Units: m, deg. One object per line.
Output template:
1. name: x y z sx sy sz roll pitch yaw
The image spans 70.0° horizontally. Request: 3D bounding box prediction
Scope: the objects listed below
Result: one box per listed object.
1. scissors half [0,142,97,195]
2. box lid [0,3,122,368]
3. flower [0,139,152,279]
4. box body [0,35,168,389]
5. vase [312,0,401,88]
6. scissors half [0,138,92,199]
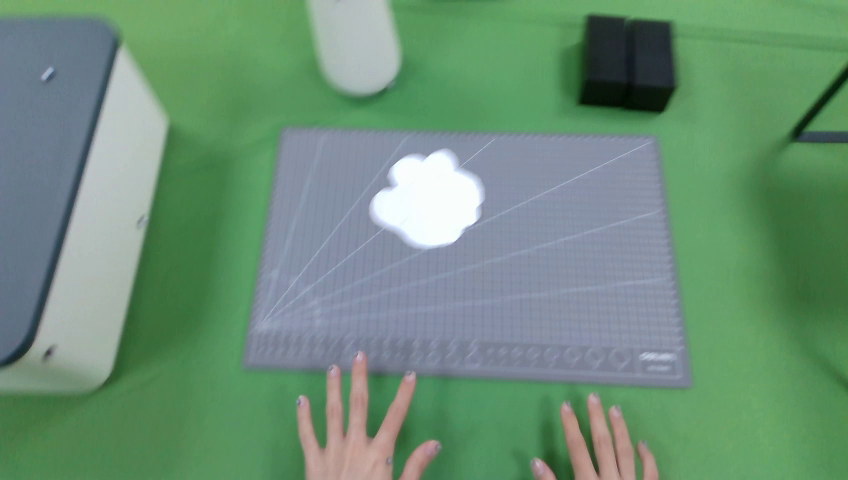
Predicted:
1. scissors half: -0.466 -0.073 0.692 0.175 0.040 0.012 -23 36 -10
2. box lid: -0.434 -0.070 0.540 0.263 0.015 0.368 1 67 0
3. flower: -0.428 -0.008 0.687 0.038 0.044 0.359 -5 40 35
4. box body: -0.432 -0.038 0.609 0.254 0.161 0.361 1 66 2
5. vase: -0.081 -0.264 0.679 0.098 0.201 0.097 -1 65 3
6. scissors half: -0.461 -0.062 0.699 0.175 0.040 0.012 -31 31 -4
